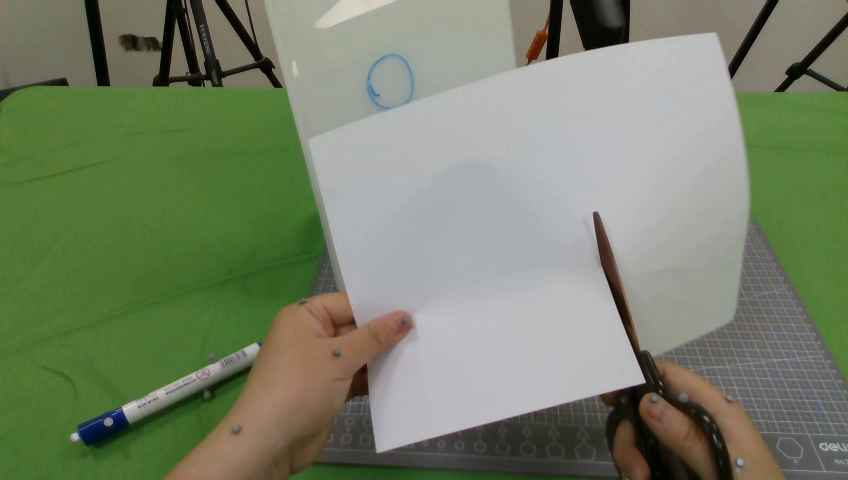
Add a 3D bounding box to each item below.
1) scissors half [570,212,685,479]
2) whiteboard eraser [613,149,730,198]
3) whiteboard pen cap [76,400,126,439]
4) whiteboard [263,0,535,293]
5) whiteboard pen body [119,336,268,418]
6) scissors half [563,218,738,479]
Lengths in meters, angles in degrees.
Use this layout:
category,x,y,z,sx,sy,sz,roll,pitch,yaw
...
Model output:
category,x,y,z,sx,sy,sz,roll,pitch,yaw
scissors half,0.114,0.067,0.360,0.013,0.040,0.175,-13,85,-29
whiteboard eraser,0.271,-0.073,0.669,0.113,0.042,0.055,0,42,0
whiteboard pen cap,-0.237,0.132,0.449,0.033,0.018,0.018,-26,46,-27
whiteboard,-0.034,-0.140,0.600,0.218,0.307,0.142,-17,22,-17
whiteboard pen body,-0.190,0.111,0.475,0.141,0.017,0.017,-24,45,-28
scissors half,0.121,0.058,0.342,0.013,0.040,0.173,-15,63,-24
